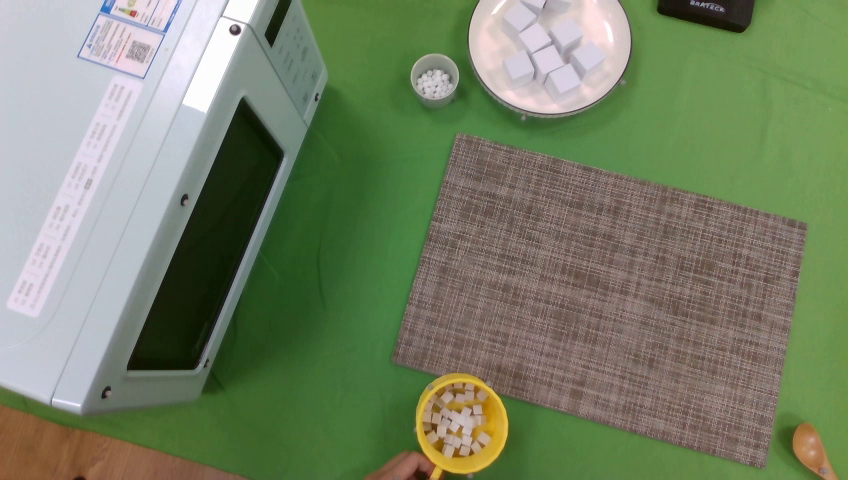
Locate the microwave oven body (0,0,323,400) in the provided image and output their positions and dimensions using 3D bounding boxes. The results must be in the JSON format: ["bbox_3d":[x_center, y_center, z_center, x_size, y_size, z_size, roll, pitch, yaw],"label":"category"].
[{"bbox_3d":[-0.349,-0.094,0.645,0.326,0.261,0.440,19,81,4],"label":"microwave oven body"}]

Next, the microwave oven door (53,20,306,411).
[{"bbox_3d":[-0.225,-0.008,0.622,0.039,0.245,0.354,18,80,5],"label":"microwave oven door"}]

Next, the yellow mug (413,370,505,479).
[{"bbox_3d":[0.030,0.213,0.681,0.100,0.064,0.130,27,84,1],"label":"yellow mug"}]

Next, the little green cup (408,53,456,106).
[{"bbox_3d":[0.011,-0.203,0.774,0.061,0.039,0.061,0,80,0],"label":"little green cup"}]

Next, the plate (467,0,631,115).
[{"bbox_3d":[0.159,-0.256,0.783,0.207,0.039,0.206,0,79,1],"label":"plate"}]

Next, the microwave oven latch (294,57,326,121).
[{"bbox_3d":[-0.147,-0.192,0.758,0.030,0.029,0.079,20,81,4],"label":"microwave oven latch"}]

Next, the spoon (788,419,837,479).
[{"bbox_3d":[0.471,0.290,0.683,0.041,0.022,0.193,-28,80,-21],"label":"spoon"}]
